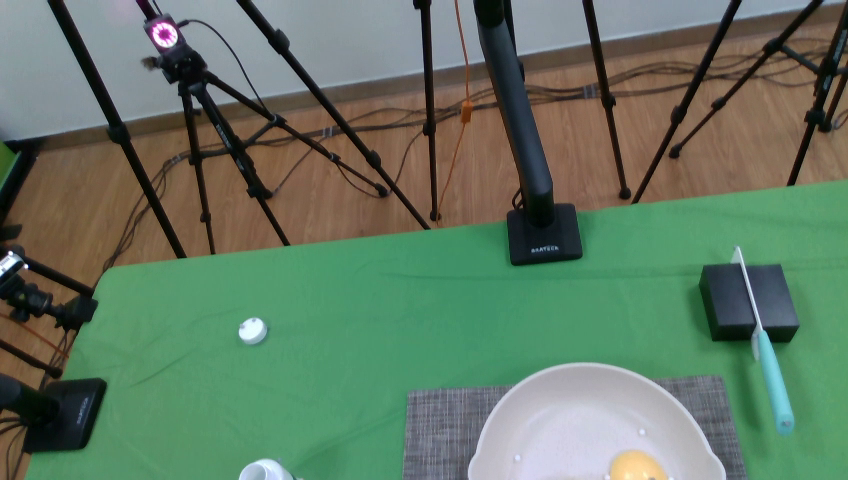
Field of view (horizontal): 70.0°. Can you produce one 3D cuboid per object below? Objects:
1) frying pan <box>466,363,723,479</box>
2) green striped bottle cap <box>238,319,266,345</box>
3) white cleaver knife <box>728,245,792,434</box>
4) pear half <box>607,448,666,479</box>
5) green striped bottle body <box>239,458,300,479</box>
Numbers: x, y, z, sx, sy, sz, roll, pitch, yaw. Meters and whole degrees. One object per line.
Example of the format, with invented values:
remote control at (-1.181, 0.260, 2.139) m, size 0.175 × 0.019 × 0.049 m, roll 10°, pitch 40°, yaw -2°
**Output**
frying pan at (0.198, 0.376, 0.696) m, size 0.306 × 0.104 × 0.483 m, roll -4°, pitch 45°, yaw 13°
green striped bottle cap at (-0.296, 0.158, 1.043) m, size 0.044 × 0.020 × 0.044 m, roll -7°, pitch 53°, yaw 10°
white cleaver knife at (0.460, 0.129, 0.839) m, size 0.021 × 0.066 × 0.284 m, roll -6°, pitch 51°, yaw 17°
pear half at (0.273, 0.306, 0.772) m, size 0.070 × 0.031 × 0.087 m, roll -21°, pitch 48°, yaw 5°
green striped bottle body at (-0.208, 0.338, 0.822) m, size 0.063 × 0.120 × 0.062 m, roll -7°, pitch 53°, yaw 9°
